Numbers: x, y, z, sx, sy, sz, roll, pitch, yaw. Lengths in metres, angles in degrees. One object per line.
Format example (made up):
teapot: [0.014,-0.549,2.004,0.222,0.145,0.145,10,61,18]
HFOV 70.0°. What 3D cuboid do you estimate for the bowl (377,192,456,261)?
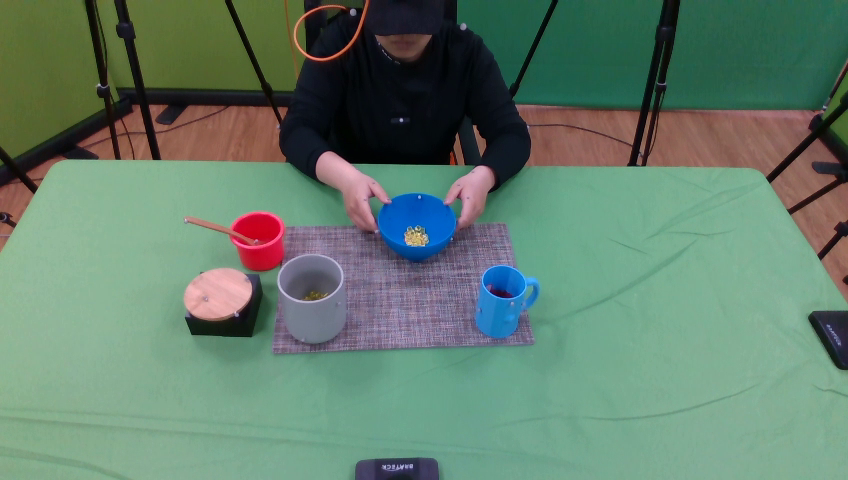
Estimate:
bowl: [-0.016,-0.013,1.166,0.151,0.077,0.150,2,46,-2]

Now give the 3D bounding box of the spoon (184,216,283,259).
spoon: [-0.341,-0.008,1.096,0.195,0.021,0.041,29,35,-41]

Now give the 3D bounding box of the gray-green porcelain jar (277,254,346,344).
gray-green porcelain jar: [-0.184,0.102,1.008,0.106,0.127,0.105,2,46,-2]

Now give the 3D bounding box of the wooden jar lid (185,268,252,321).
wooden jar lid: [-0.343,0.093,1.015,0.108,0.021,0.107,3,46,-3]

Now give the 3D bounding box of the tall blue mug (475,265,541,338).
tall blue mug: [0.142,0.099,1.047,0.077,0.108,0.107,33,52,27]
